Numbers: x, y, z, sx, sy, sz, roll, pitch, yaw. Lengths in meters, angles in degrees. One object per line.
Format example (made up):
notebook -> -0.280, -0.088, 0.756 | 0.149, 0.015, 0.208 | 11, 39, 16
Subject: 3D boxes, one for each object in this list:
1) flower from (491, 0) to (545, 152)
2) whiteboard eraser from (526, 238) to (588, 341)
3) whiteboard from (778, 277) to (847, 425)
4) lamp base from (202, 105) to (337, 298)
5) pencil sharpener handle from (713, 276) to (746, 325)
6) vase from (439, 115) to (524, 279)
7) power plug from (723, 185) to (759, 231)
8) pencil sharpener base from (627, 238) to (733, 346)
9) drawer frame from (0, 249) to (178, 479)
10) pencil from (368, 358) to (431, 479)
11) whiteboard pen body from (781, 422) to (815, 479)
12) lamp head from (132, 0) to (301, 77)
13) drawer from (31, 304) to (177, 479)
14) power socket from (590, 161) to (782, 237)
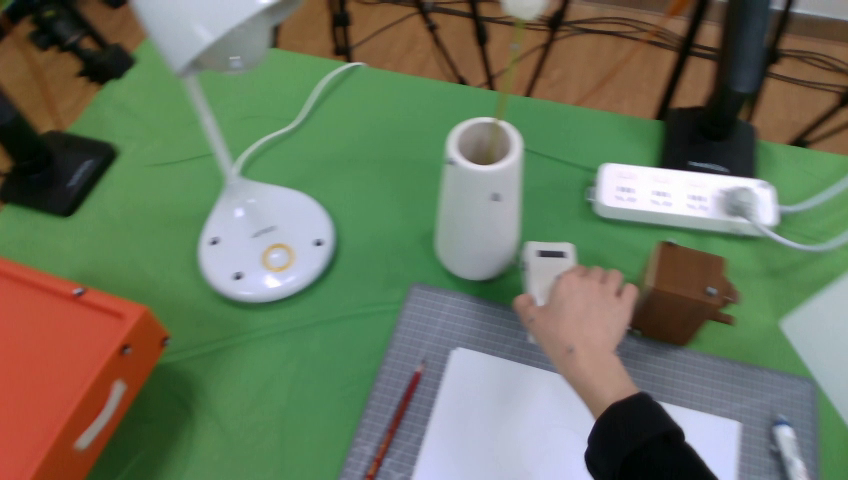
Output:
flower -> 0.070, -0.098, 0.591 | 0.038, 0.364, 0.043 | 4, 39, -4
whiteboard eraser -> 0.138, 0.053, 0.640 | 0.056, 0.042, 0.111 | 7, 55, -5
whiteboard -> 0.531, 0.083, 0.531 | 0.144, 0.307, 0.215 | -4, 55, -23
lamp base -> -0.197, -0.051, 0.678 | 0.160, 0.182, 0.177 | -35, 60, -19
pencil sharpener handle -> 0.315, 0.065, 0.617 | 0.030, 0.068, 0.036 | 16, 58, 12
vase -> 0.062, -0.041, 0.652 | 0.098, 0.202, 0.097 | -2, 57, 3
power plug -> 0.367, -0.033, 0.708 | 0.035, 0.053, 0.072 | 17, 61, 13
pencil sharpener base -> 0.268, 0.058, 0.637 | 0.076, 0.108, 0.061 | 16, 59, 12
drawer frame -> -0.390, 0.127, 0.579 | 0.213, 0.083, 0.200 | 17, 60, 10
pencil -> -0.033, 0.202, 0.611 | 0.012, 0.012, 0.193 | 20, 59, 15
whiteboard pen body -> 0.361, 0.240, 0.565 | 0.017, 0.017, 0.139 | 0, 57, 2
lamp head -> -0.162, -0.192, 0.423 | 0.112, 0.112, 0.123 | -42, 103, -22
drawer -> -0.384, 0.126, 0.577 | 0.211, 0.074, 0.193 | 16, 60, 12
power socket -> 0.323, -0.051, 0.749 | 0.226, 0.033, 0.071 | 8, 59, 7
